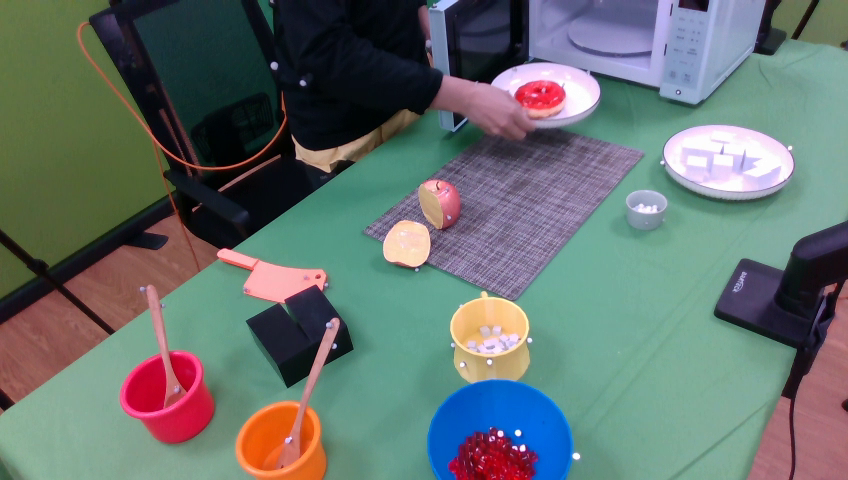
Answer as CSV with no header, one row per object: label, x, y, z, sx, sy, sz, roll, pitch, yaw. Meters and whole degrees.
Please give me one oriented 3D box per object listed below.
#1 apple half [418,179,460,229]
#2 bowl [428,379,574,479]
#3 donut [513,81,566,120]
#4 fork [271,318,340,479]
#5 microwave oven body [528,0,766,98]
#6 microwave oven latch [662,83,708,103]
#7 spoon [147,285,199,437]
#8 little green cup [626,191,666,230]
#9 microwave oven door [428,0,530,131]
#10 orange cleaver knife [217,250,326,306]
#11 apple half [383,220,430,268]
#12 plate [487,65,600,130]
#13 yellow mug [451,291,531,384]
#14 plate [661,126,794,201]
apple half,0.032,-0.062,0.998,0.053,0.075,0.080,-23,39,-23
bowl,0.082,0.233,0.644,0.151,0.077,0.150,-4,39,4
donut,0.213,-0.260,1.122,0.099,0.048,0.098,-3,42,4
fork,-0.132,0.186,0.676,0.028,0.019,0.207,18,90,28
microwave oven body,0.472,-0.513,1.317,0.438,0.261,0.327,25,51,34
microwave oven latch,0.518,-0.297,1.204,0.078,0.029,0.030,28,53,36
spoon,-0.319,0.148,0.754,0.042,0.021,0.193,-14,85,-11
little green cup,0.352,-0.046,0.963,0.061,0.039,0.061,-4,40,4
microwave oven door,0.126,-0.417,1.249,0.039,0.245,0.356,19,47,28
orange cleaver knife,-0.248,0.059,0.945,0.210,0.012,0.077,12,49,20
apple half,-0.022,0.009,0.948,0.081,0.033,0.081,-4,73,13
plate,0.223,-0.264,1.142,0.209,0.038,0.208,-2,43,3
yellow mug,0.085,0.120,0.786,0.100,0.064,0.130,-7,39,1
plate,0.513,-0.128,1.035,0.207,0.039,0.206,-4,40,4
